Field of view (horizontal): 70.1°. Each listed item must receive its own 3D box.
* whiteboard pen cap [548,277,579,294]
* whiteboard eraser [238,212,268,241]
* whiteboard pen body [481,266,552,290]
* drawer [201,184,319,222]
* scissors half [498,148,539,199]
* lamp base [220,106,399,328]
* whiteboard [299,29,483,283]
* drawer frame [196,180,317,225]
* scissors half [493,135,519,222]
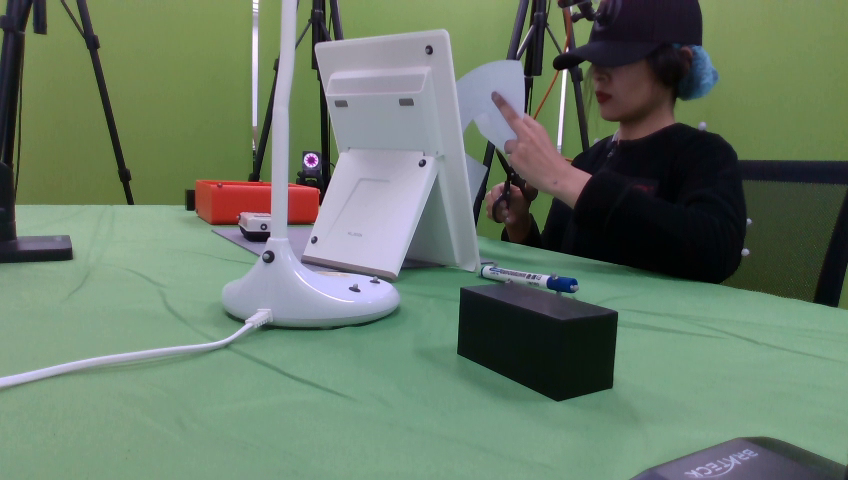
[{"bbox_3d":[0.148,0.049,0.647,0.018,0.018,0.033,-3,3,-35],"label":"whiteboard pen cap"},{"bbox_3d":[-0.272,-0.024,0.998,0.056,0.042,0.112,-2,9,-24],"label":"whiteboard eraser"},{"bbox_3d":[0.115,0.044,0.695,0.017,0.017,0.140,-3,5,-35],"label":"whiteboard pen body"},{"bbox_3d":[-0.353,-0.082,1.296,0.213,0.073,0.193,-2,10,-28],"label":"drawer"},{"bbox_3d":[0.172,-0.123,1.099,0.012,0.040,0.176,40,4,38],"label":"scissors half"},{"bbox_3d":[-0.101,-0.023,0.531,0.160,0.180,0.179,4,10,10],"label":"lamp base"},{"bbox_3d":[-0.074,-0.082,0.742,0.216,0.305,0.144,9,29,38],"label":"whiteboard"},{"bbox_3d":[-0.359,-0.083,1.292,0.215,0.082,0.200,-2,10,-30],"label":"drawer frame"},{"bbox_3d":[0.151,-0.107,1.091,0.040,0.175,0.013,-19,42,-38],"label":"scissors half"}]
